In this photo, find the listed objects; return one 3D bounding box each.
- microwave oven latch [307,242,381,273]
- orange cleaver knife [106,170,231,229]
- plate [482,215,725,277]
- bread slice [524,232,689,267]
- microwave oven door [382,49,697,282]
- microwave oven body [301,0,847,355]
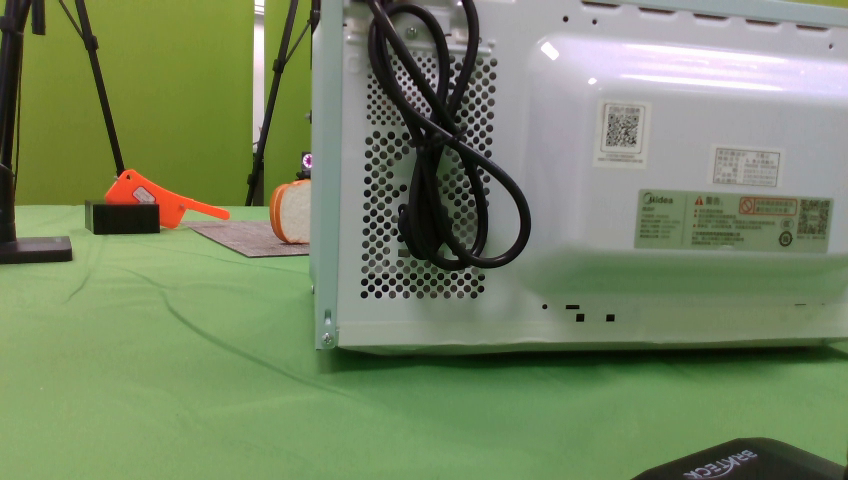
[{"bbox_3d":[-0.086,0.019,0.656,0.079,0.029,0.030,2,7,-10],"label":"microwave oven latch"},{"bbox_3d":[-0.458,-0.060,1.097,0.212,0.077,0.012,23,-4,-38],"label":"orange cleaver knife"},{"bbox_3d":[0.156,0.003,0.545,0.208,0.039,0.207,-2,6,0],"label":"plate"},{"bbox_3d":[0.174,0.008,0.565,0.134,0.018,0.107,-5,4,28],"label":"bread slice"},{"bbox_3d":[0.135,-0.077,0.685,0.357,0.243,0.039,1,8,-12],"label":"microwave oven door"},{"bbox_3d":[0.120,-0.053,0.535,0.443,0.260,0.325,2,7,-11],"label":"microwave oven body"}]
